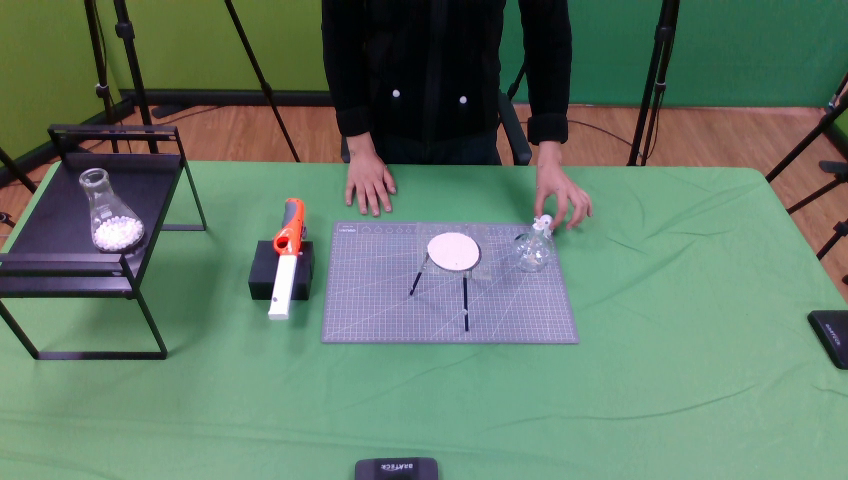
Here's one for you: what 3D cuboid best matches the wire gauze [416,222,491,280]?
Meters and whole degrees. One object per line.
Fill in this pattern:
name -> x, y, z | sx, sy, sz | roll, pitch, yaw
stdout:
wire gauze -> 0.048, 0.014, 1.013 | 0.125, 0.011, 0.120 | 3, 47, -3

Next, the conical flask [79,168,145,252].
conical flask -> -0.463, -0.048, 0.888 | 0.075, 0.122, 0.075 | 2, 46, -2

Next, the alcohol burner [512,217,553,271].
alcohol burner -> 0.208, 0.002, 1.144 | 0.078, 0.119, 0.077 | 3, 45, -3

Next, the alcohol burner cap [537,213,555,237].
alcohol burner cap -> 0.250, -0.033, 1.230 | 0.034, 0.048, 0.033 | 2, 50, -2

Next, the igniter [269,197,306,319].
igniter -> -0.246, 0.023, 1.087 | 0.057, 0.025, 0.274 | -1, 49, -2

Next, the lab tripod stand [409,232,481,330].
lab tripod stand -> 0.051, 0.064, 1.059 | 0.148, 0.132, 0.147 | 3, 47, -3
